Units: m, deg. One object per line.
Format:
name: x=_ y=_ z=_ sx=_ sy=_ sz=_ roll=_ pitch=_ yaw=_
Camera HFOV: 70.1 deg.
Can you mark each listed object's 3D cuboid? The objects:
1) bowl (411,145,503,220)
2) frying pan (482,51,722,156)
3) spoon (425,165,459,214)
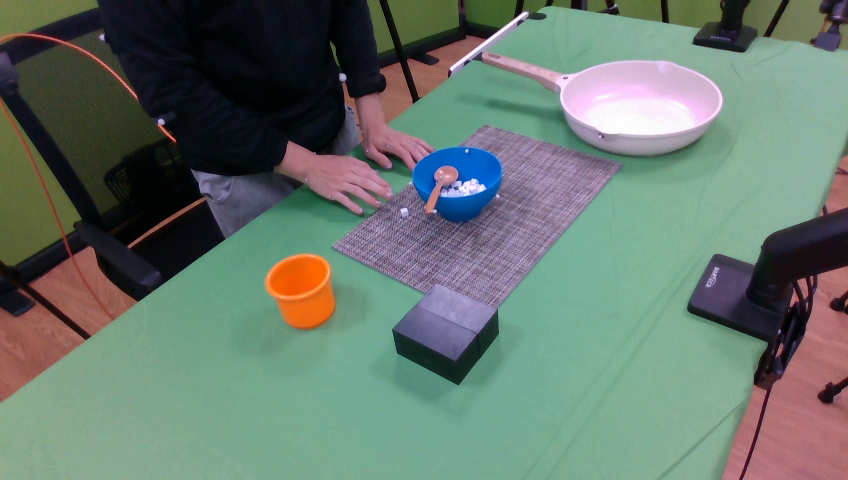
bowl: x=0.057 y=-0.086 z=1.010 sx=0.151 sy=0.077 sz=0.150 roll=-4 pitch=41 yaw=4
frying pan: x=0.326 y=-0.298 z=1.204 sx=0.484 sy=0.103 sz=0.307 roll=28 pitch=51 yaw=23
spoon: x=0.023 y=-0.083 z=0.963 sx=0.041 sy=0.021 sz=0.193 roll=8 pitch=24 yaw=10
